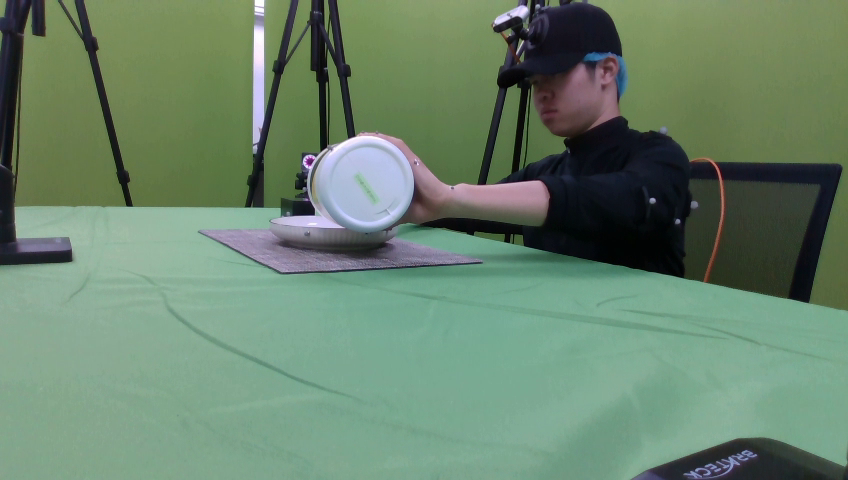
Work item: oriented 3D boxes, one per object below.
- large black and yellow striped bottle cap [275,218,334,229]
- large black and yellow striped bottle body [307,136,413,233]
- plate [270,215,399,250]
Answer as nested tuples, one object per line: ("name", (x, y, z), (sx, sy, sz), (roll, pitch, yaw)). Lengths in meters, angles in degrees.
("large black and yellow striped bottle cap", (-0.236, -0.033, 1.197), (0.115, 0.019, 0.115), (2, 3, 0))
("large black and yellow striped bottle body", (-0.101, -0.081, 0.886), (0.131, 0.130, 0.183), (0, 5, -18))
("plate", (-0.145, -0.013, 0.992), (0.208, 0.039, 0.207), (2, 7, 0))
